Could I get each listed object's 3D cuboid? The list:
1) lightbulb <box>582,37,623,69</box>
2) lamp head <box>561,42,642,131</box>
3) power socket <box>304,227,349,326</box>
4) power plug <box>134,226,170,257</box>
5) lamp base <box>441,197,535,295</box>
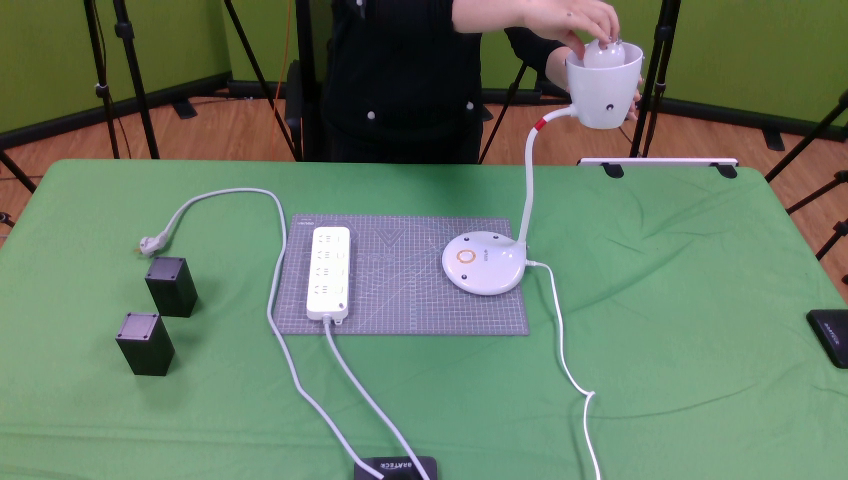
[{"bbox_3d":[0.270,-0.250,0.918,0.059,0.108,0.059,-6,24,3],"label":"lightbulb"},{"bbox_3d":[0.271,-0.231,0.937,0.112,0.123,0.112,-2,36,2],"label":"lamp head"},{"bbox_3d":[-0.177,0.059,1.115,0.072,0.033,0.225,-1,46,-4],"label":"power socket"},{"bbox_3d":[-0.515,0.006,1.153,0.052,0.035,0.072,-6,24,6],"label":"power plug"},{"bbox_3d":[0.130,-0.012,1.105,0.179,0.181,0.159,-1,46,-9],"label":"lamp base"}]
